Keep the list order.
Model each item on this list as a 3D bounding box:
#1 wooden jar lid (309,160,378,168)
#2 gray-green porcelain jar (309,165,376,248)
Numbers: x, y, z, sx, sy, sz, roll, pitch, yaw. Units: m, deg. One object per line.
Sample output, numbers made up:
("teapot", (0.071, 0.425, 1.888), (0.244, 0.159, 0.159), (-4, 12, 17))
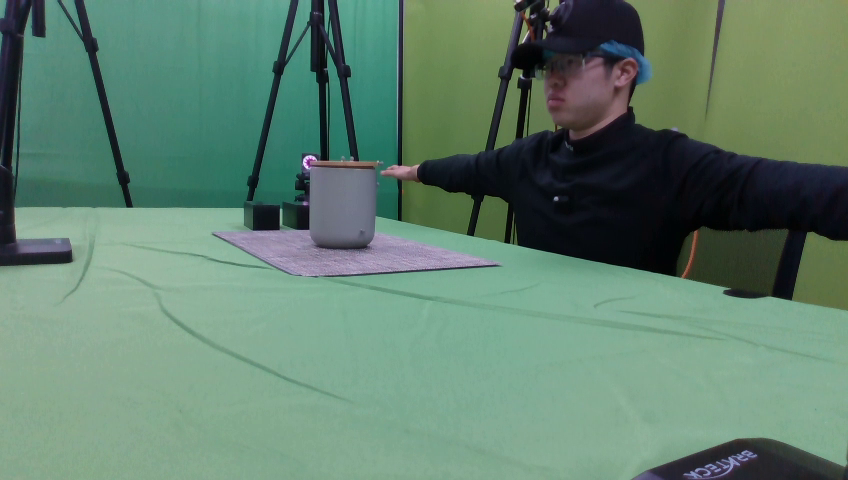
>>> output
("wooden jar lid", (-0.127, -0.117, 0.957), (0.108, 0.020, 0.108), (1, 7, 0))
("gray-green porcelain jar", (-0.130, -0.054, 0.966), (0.106, 0.126, 0.106), (2, 7, 0))
